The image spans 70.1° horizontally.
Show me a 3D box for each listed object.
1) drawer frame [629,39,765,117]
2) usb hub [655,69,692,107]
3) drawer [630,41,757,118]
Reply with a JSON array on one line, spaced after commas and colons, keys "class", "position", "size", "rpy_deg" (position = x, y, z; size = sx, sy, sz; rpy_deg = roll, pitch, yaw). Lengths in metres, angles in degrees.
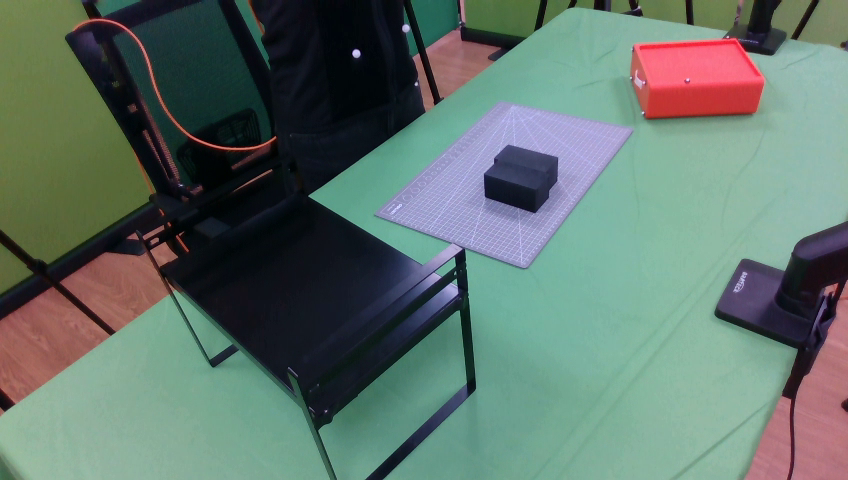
[{"class": "drawer frame", "position": [0.543, -0.332, 1.234], "size": [0.213, 0.083, 0.201], "rpy_deg": [-1, 41, 6]}, {"class": "usb hub", "position": [0.511, -0.313, 1.240], "size": [0.049, 0.025, 0.124], "rpy_deg": [-2, 39, 10]}, {"class": "drawer", "position": [0.541, -0.331, 1.233], "size": [0.211, 0.073, 0.194], "rpy_deg": [-1, 40, 8]}]
